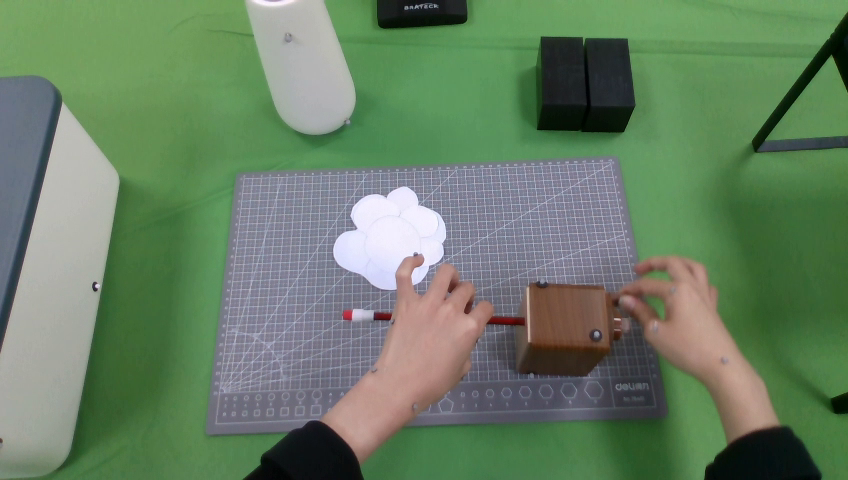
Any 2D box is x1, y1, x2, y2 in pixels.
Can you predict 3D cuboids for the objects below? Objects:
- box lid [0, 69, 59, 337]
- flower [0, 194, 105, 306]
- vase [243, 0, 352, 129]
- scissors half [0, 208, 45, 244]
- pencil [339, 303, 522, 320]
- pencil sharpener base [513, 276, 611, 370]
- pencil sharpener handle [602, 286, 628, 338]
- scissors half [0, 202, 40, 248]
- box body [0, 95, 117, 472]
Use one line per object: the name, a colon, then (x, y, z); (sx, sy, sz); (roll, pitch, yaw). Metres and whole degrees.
box lid: (-0.473, 0.005, 0.514); (0.263, 0.015, 0.368); (-3, 65, -1)
flower: (-0.466, 0.069, 0.661); (0.038, 0.044, 0.359); (-10, 39, 33)
vase: (-0.139, -0.212, 0.666); (0.098, 0.201, 0.097); (-1, 64, 3)
scissors half: (-0.510, 0.008, 0.665); (0.175, 0.040, 0.012); (-28, 36, -12)
pencil: (0.019, 0.066, 0.551); (0.194, 0.012, 0.012); (2, 65, 1)
pencil sharpener base: (0.127, 0.081, 0.571); (0.076, 0.108, 0.061); (2, 65, 3)
pencil sharpener handle: (0.178, 0.063, 0.558); (0.030, 0.036, 0.067); (2, 30, 3)
scissors half: (-0.504, 0.018, 0.673); (0.175, 0.040, 0.012); (-35, 31, -6)
box body: (-0.470, 0.039, 0.582); (0.254, 0.161, 0.361); (-4, 65, 0)
